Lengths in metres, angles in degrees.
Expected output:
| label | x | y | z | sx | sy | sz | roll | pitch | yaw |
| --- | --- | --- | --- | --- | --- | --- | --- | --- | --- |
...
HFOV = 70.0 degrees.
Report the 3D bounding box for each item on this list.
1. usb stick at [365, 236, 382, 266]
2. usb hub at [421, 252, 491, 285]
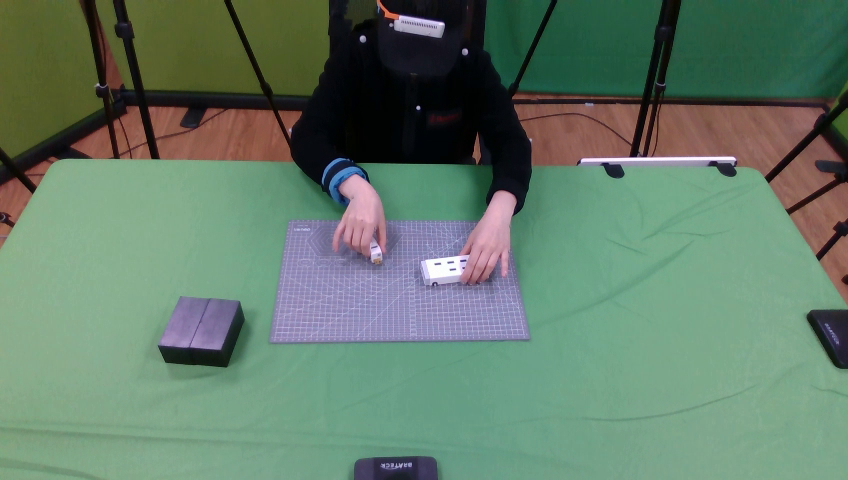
| label | x | y | z | sx | sy | sz | roll | pitch | yaw |
| --- | --- | --- | --- | --- | --- | --- | --- | --- | --- |
| usb stick | -0.095 | 0.023 | 1.156 | 0.021 | 0.027 | 0.059 | -12 | 52 | -16 |
| usb hub | 0.059 | 0.055 | 1.142 | 0.125 | 0.025 | 0.049 | -7 | 47 | -10 |
